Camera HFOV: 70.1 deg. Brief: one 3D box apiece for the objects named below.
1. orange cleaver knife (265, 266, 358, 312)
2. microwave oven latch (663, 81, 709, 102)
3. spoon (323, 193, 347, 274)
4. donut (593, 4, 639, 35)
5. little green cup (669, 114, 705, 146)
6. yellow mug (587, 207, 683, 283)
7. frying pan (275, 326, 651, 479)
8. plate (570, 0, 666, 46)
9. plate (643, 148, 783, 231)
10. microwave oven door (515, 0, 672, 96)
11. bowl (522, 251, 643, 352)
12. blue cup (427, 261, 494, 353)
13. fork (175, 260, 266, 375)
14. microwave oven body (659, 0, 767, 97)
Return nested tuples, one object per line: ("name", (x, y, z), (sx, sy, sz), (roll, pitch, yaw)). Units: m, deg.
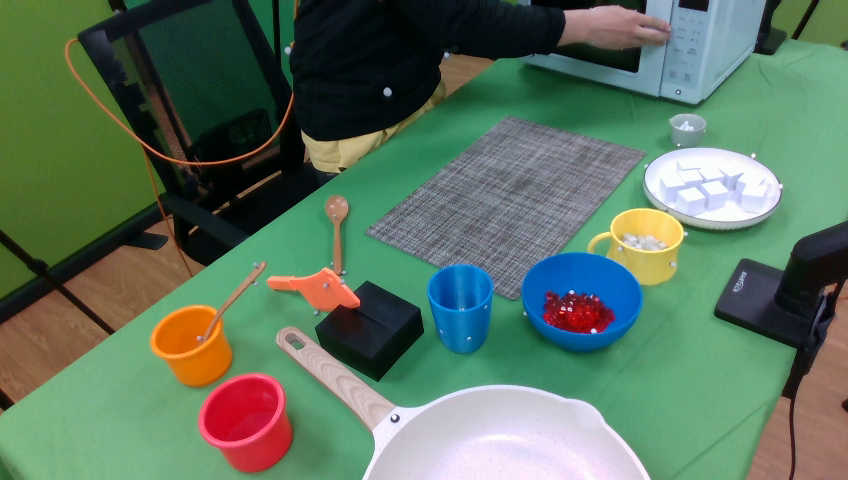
("orange cleaver knife", (-0.164, 0.073, 0.864), (0.210, 0.077, 0.012), (-6, 31, 50))
("microwave oven latch", (0.519, -0.299, 1.202), (0.078, 0.029, 0.030), (30, 53, 36))
("spoon", (-0.148, -0.014, 1.008), (0.042, 0.021, 0.192), (4, 39, -12))
("donut", (0.428, -0.493, 1.352), (0.099, 0.048, 0.098), (-7, 42, 7))
("little green cup", (0.485, -0.203, 1.123), (0.061, 0.039, 0.061), (-5, 39, 5))
("yellow mug", (0.305, 0.008, 0.885), (0.131, 0.064, 0.099), (-4, 41, 5))
("frying pan", (0.004, 0.229, 0.641), (0.484, 0.103, 0.308), (34, 54, 28))
("plate", (0.436, -0.487, 1.368), (0.209, 0.038, 0.208), (-4, 40, 4))
("plate", (0.465, -0.080, 0.986), (0.207, 0.039, 0.206), (-4, 41, 4))
("microwave oven door", (0.342, -0.457, 1.255), (0.353, 0.245, 0.039), (27, 52, 33))
("bowl", (0.204, 0.093, 0.792), (0.151, 0.077, 0.150), (-4, 40, 4))
("blue cup", (0.050, 0.095, 0.791), (0.092, 0.100, 0.092), (-3, 42, 3))
("fork", (-0.268, 0.102, 0.792), (0.207, 0.019, 0.028), (-51, 41, 16))
("microwave oven body", (0.473, -0.516, 1.313), (0.438, 0.261, 0.327), (26, 51, 34))
